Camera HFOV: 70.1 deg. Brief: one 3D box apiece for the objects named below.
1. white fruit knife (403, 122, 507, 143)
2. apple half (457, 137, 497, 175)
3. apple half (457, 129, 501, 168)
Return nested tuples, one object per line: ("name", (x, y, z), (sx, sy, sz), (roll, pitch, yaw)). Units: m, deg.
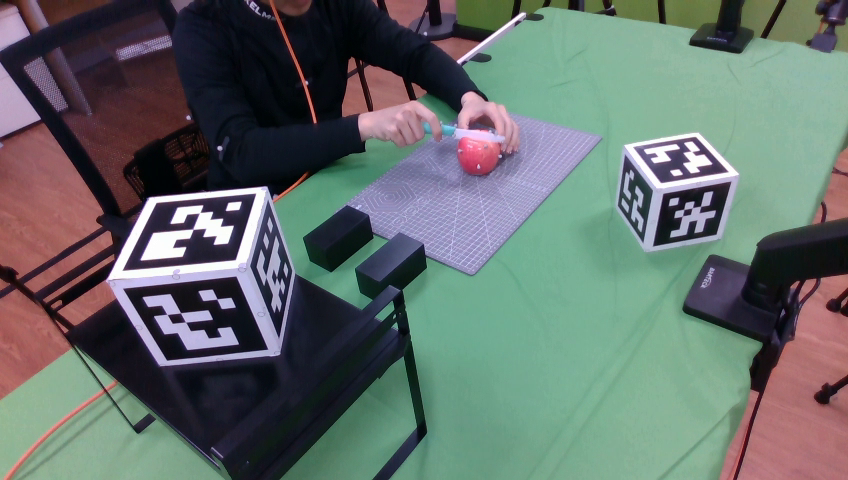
("white fruit knife", (0.052, -0.192, 1.084), (0.206, 0.027, 0.016), (11, 49, 24))
("apple half", (0.089, -0.143, 1.080), (0.081, 0.081, 0.033), (14, 43, 23))
("apple half", (0.106, -0.167, 1.106), (0.080, 0.075, 0.053), (11, 39, 24))
